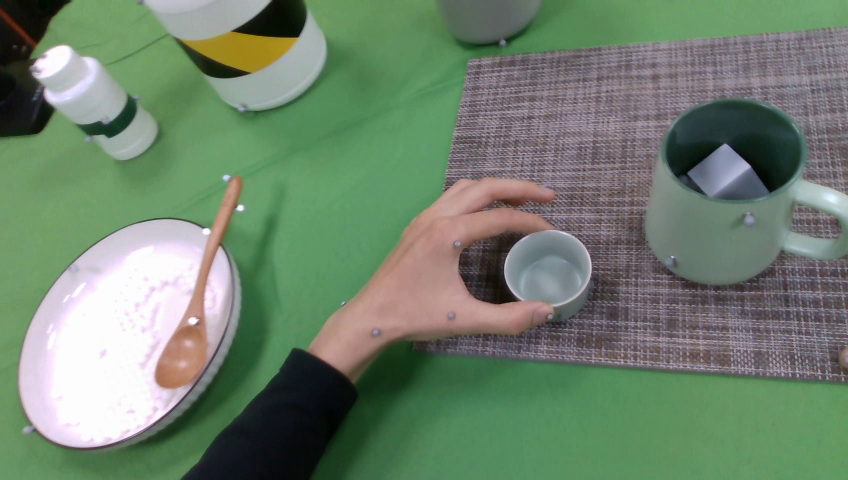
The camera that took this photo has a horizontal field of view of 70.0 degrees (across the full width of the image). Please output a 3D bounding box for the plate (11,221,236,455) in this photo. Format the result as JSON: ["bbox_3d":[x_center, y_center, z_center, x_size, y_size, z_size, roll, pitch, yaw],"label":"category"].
[{"bbox_3d":[-0.252,0.080,0.523,0.209,0.038,0.207,-8,59,13],"label":"plate"}]

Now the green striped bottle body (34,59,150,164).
[{"bbox_3d":[-0.348,-0.138,0.628,0.063,0.120,0.062,-8,59,14],"label":"green striped bottle body"}]

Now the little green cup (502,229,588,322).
[{"bbox_3d":[0.088,0.028,0.437,0.061,0.039,0.061,-9,56,14],"label":"little green cup"}]

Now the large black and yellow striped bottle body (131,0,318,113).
[{"bbox_3d":[-0.200,-0.230,0.594,0.130,0.186,0.129,-8,60,14],"label":"large black and yellow striped bottle body"}]

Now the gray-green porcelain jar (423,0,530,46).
[{"bbox_3d":[0.044,-0.258,0.568,0.105,0.128,0.105,-8,59,14],"label":"gray-green porcelain jar"}]

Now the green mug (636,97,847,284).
[{"bbox_3d":[0.203,-0.024,0.392,0.124,0.106,0.092,23,70,27],"label":"green mug"}]

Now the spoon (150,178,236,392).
[{"bbox_3d":[-0.188,0.031,0.512,0.041,0.022,0.192,3,71,18],"label":"spoon"}]

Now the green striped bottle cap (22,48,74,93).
[{"bbox_3d":[-0.363,-0.163,0.585,0.044,0.020,0.044,-6,62,12],"label":"green striped bottle cap"}]
